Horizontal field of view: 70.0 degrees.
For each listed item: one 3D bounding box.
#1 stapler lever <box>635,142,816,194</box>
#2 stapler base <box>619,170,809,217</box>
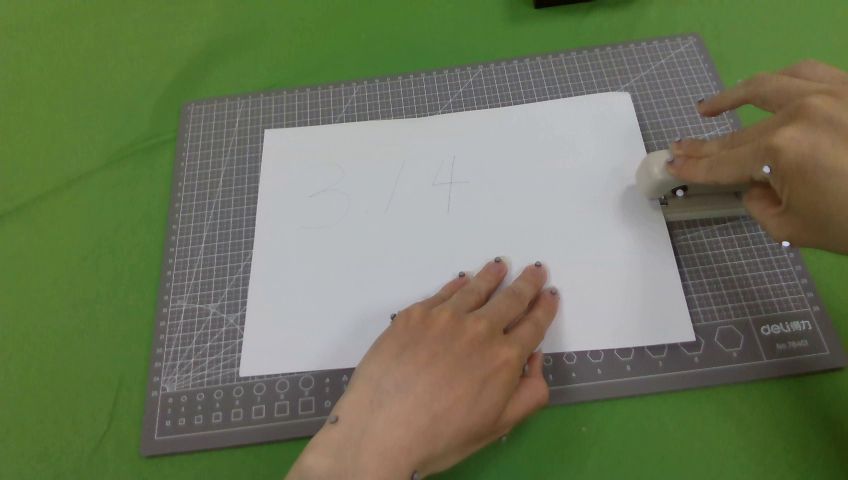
[{"bbox_3d":[0.207,-0.052,0.417,0.118,0.040,0.026,-8,60,8],"label":"stapler lever"},{"bbox_3d":[0.208,-0.042,0.431,0.130,0.024,0.041,-4,60,0],"label":"stapler base"}]
